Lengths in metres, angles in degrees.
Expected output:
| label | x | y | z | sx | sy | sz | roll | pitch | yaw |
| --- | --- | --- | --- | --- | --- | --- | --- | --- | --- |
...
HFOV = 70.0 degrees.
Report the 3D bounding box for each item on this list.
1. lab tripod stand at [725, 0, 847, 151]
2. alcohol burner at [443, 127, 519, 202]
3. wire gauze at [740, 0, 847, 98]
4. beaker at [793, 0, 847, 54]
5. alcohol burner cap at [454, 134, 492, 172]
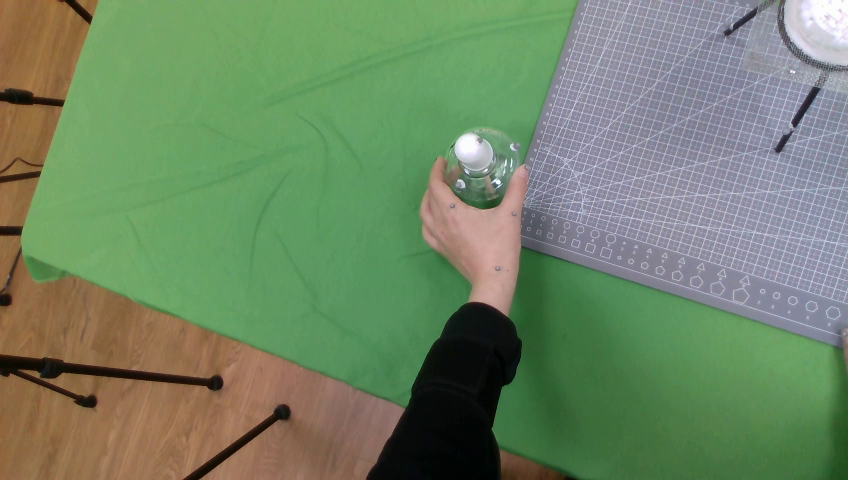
| label | x | y | z | sx | sy | sz | roll | pitch | yaw |
| --- | --- | --- | --- | --- | --- | --- | --- | --- | --- |
| lab tripod stand | 0.334 | -0.163 | 0.519 | 0.148 | 0.132 | 0.148 | -1 | 86 | 13 |
| alcohol burner | 0.053 | -0.078 | 0.597 | 0.078 | 0.120 | 0.077 | -2 | 82 | 13 |
| wire gauze | 0.317 | -0.170 | 0.456 | 0.124 | 0.011 | 0.121 | 18 | 93 | 13 |
| beaker | 0.300 | -0.177 | 0.410 | 0.083 | 0.101 | 0.074 | 32 | 94 | 16 |
| alcohol burner cap | 0.043 | -0.083 | 0.562 | 0.034 | 0.048 | 0.034 | -1 | 87 | 15 |
